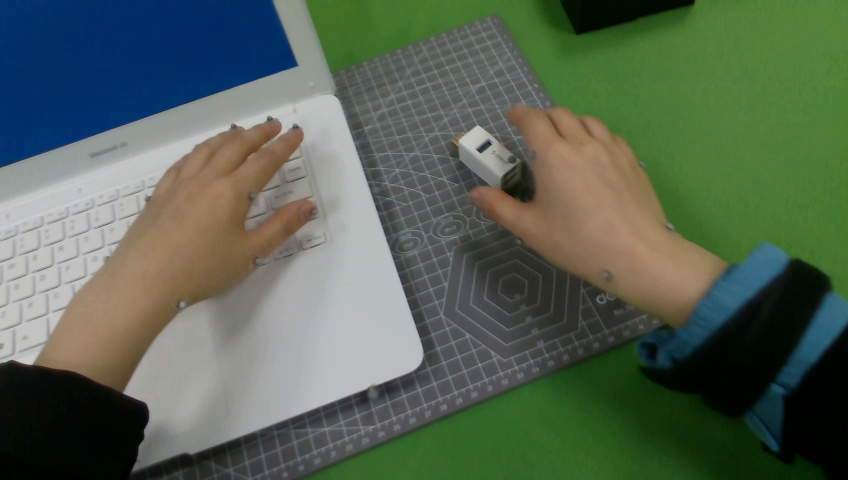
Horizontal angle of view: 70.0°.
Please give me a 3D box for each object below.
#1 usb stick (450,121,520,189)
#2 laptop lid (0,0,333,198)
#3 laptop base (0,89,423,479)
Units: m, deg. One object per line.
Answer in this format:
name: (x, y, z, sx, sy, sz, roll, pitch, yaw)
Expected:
usb stick: (0.041, -0.064, 0.431, 0.021, 0.027, 0.058, -40, 61, -13)
laptop lid: (-0.264, -0.149, 0.402, 0.357, 0.244, 0.013, -21, 37, -1)
laptop base: (-0.198, 0.038, 0.418, 0.354, 0.023, 0.233, -20, 65, -2)
